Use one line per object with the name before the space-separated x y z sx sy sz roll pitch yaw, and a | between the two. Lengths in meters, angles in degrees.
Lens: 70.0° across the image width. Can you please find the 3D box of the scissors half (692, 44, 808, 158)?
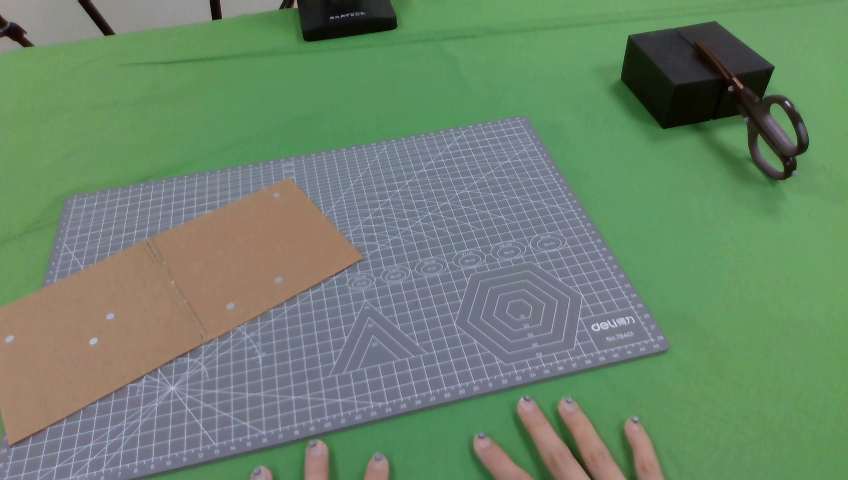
scissors half | 0.288 -0.135 0.548 0.013 0.040 0.173 -19 45 1

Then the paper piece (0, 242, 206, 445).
paper piece | -0.251 0.066 0.453 0.136 0.004 0.134 -28 49 -22

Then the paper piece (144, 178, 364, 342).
paper piece | -0.143 0.008 0.505 0.138 0.009 0.134 -27 54 -23

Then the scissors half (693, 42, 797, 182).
scissors half | 0.292 -0.123 0.564 0.013 0.040 0.173 -15 63 -3
